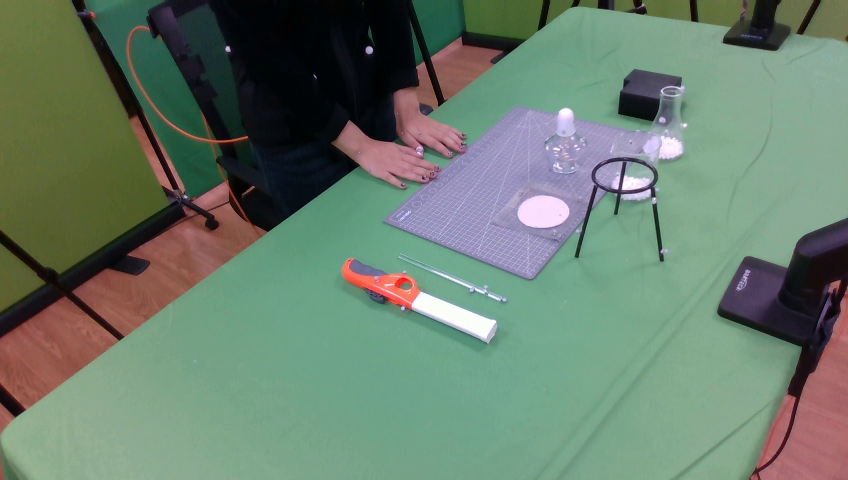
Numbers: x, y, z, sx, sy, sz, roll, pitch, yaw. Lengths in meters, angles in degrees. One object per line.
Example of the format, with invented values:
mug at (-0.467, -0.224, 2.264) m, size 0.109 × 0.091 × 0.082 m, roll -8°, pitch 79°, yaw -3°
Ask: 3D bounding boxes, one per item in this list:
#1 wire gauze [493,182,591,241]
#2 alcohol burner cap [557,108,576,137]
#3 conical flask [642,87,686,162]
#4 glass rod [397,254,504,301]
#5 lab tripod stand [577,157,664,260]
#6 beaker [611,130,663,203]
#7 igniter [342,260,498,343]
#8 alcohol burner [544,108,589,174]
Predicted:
wire gauze at (0.198, -0.048, 1.011) m, size 0.120 × 0.011 × 0.125 m, roll 20°, pitch 50°, yaw 31°
alcohol burner cap at (0.246, -0.205, 1.047) m, size 0.034 × 0.048 × 0.033 m, roll -8°, pitch 44°, yaw 9°
conical flask at (0.429, -0.206, 1.067) m, size 0.075 × 0.122 × 0.075 m, roll -6°, pitch 40°, yaw 6°
glass rod at (0.036, 0.054, 0.923) m, size 0.198 × 0.008 × 0.008 m, roll 22°, pitch 50°, yaw 31°
lab tripod stand at (0.292, -0.047, 0.897) m, size 0.148 × 0.132 × 0.147 m, roll -7°, pitch 38°, yaw 6°
beaker at (0.346, -0.118, 0.998) m, size 0.084 × 0.101 × 0.073 m, roll -17°, pitch 40°, yaw -7°
igniter at (-0.017, 0.084, 0.883) m, size 0.274 × 0.025 × 0.057 m, roll 20°, pitch 58°, yaw 31°
alcohol burner at (0.252, -0.178, 1.071) m, size 0.078 × 0.120 × 0.077 m, roll -7°, pitch 40°, yaw 6°
